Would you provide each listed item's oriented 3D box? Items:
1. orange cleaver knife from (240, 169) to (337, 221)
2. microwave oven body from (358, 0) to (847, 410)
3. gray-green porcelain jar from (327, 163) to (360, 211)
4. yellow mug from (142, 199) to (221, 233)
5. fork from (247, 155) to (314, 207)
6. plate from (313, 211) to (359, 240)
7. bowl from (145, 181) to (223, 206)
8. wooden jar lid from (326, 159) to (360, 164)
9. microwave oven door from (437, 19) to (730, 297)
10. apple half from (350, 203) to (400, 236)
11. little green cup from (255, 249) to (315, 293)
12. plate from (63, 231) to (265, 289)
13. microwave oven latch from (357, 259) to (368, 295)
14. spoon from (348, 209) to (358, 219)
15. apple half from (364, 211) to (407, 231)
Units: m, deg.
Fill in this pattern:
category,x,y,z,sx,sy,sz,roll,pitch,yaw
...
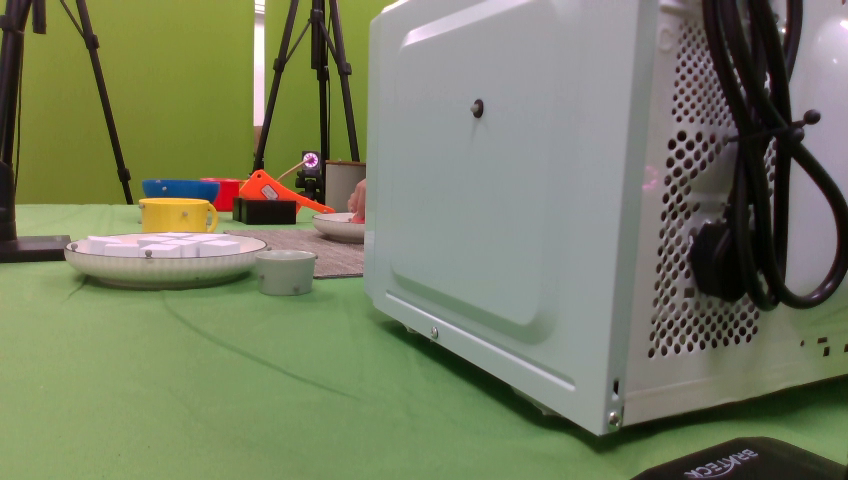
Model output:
category,x,y,z,sx,sy,sz,roll,pitch,yaw
orange cleaver knife,-0.287,-0.082,1.299,0.212,0.077,0.012,25,-2,-31
microwave oven body,0.210,-0.051,0.471,0.444,0.260,0.324,-1,7,-28
gray-green porcelain jar,-0.187,-0.125,1.490,0.106,0.126,0.106,2,8,0
yellow mug,-0.372,-0.030,0.948,0.099,0.064,0.131,6,7,30
fork,-0.360,-0.147,1.522,0.207,0.018,0.028,-43,7,-7
plate,-0.091,-0.026,1.062,0.209,0.038,0.209,2,7,0
bowl,-0.499,-0.081,1.261,0.151,0.077,0.151,2,8,0
wooden jar lid,-0.185,-0.187,1.481,0.108,0.020,0.108,4,6,0
microwave oven door,0.181,-0.076,0.618,0.358,0.243,0.039,-2,9,-28
apple half,-0.082,-0.036,1.023,0.081,0.053,0.074,-4,12,-33
little green cup,-0.144,0.032,0.627,0.061,0.038,0.061,2,5,0
plate,-0.288,0.021,0.687,0.208,0.039,0.207,2,8,0
microwave oven latch,-0.019,0.031,0.529,0.079,0.029,0.030,-1,7,-27
spoon,-0.123,-0.047,1.116,0.041,0.021,0.194,-9,16,19
apple half,-0.068,-0.037,1.103,0.081,0.033,0.081,-1,9,1
